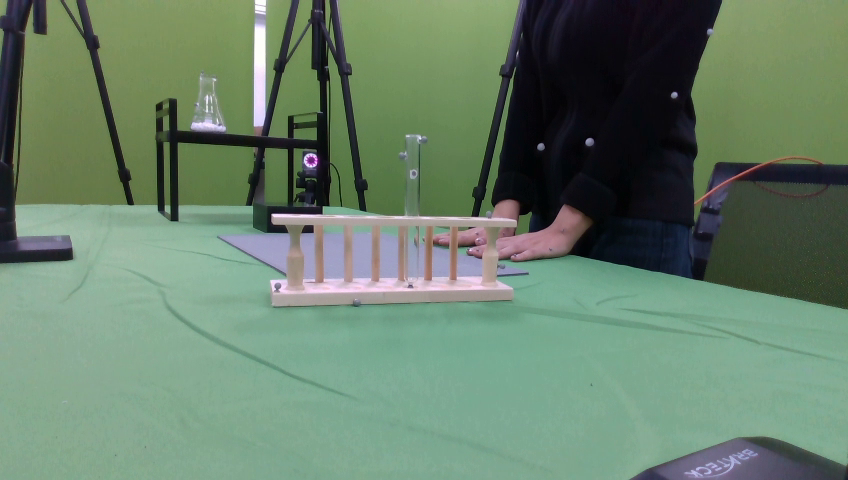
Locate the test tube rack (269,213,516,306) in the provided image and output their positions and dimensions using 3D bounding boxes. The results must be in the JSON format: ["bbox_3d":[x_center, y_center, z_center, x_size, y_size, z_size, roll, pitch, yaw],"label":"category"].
[{"bbox_3d":[-0.032,0.015,0.617,0.243,0.085,0.066,0,7,-17],"label":"test tube rack"}]

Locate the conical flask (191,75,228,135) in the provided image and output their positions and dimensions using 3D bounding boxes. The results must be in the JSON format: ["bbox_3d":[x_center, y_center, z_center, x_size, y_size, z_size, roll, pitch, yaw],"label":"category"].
[{"bbox_3d":[-0.457,-0.286,1.286,0.075,0.122,0.075,2,7,0],"label":"conical flask"}]

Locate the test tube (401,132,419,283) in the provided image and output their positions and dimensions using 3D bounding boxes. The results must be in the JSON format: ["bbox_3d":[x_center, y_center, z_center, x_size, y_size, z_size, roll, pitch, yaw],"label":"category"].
[{"bbox_3d":[-0.014,-0.031,0.596,0.017,0.150,0.017,1,11,0],"label":"test tube"}]
